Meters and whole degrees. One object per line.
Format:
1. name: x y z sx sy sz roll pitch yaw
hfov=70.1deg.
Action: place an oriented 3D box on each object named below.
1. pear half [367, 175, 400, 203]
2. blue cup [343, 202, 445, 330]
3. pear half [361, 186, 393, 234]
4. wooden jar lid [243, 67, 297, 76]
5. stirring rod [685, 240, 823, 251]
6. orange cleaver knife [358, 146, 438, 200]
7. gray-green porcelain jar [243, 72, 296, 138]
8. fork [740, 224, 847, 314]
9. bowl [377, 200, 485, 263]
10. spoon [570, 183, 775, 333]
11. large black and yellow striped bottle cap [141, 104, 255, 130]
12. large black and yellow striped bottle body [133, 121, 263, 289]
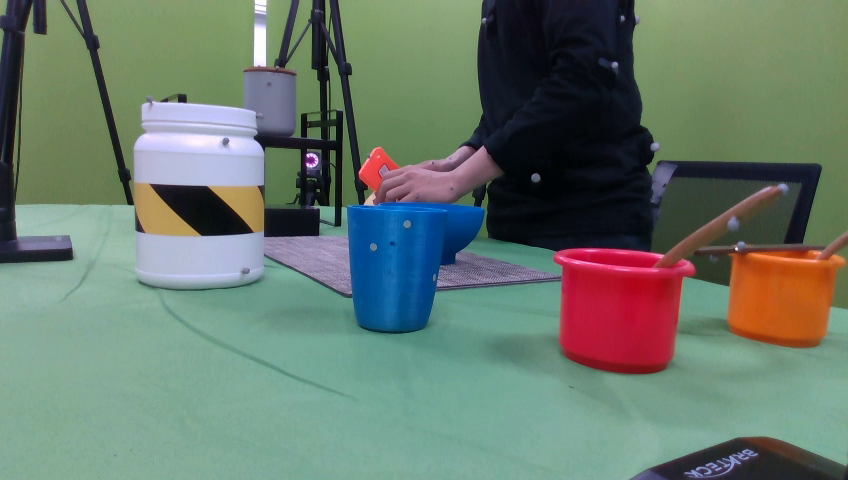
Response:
1. pear half: -0.064 -0.060 1.076 0.055 0.110 0.077 10 13 39
2. blue cup: -0.027 0.021 0.510 0.093 0.100 0.092 3 5 0
3. pear half: -0.091 -0.055 1.104 0.031 0.088 0.071 4 7 40
4. wooden jar lid: -0.319 -0.342 1.254 0.108 0.020 0.108 3 8 0
5. stirring rod: 0.289 0.005 0.525 0.177 0.006 0.014 -1 7 -26
6. orange cleaver knife: -0.045 -0.107 1.122 0.012 0.077 0.212 15 -6 39
7. gray-green porcelain jar: -0.322 -0.279 1.263 0.106 0.126 0.106 3 8 0
8. fork: 0.323 0.013 0.485 0.028 0.018 0.207 9 -38 -5
9. bowl: 0.008 -0.012 0.842 0.151 0.077 0.151 3 8 0
10. spoon: 0.160 0.020 0.413 0.042 0.021 0.193 0 -36 -23
11. large black and yellow striped bottle cap: -0.241 -0.131 0.650 0.115 0.019 0.115 3 8 0
12. large black and yellow striped bottle body: -0.243 -0.048 0.659 0.131 0.184 0.130 2 7 0
